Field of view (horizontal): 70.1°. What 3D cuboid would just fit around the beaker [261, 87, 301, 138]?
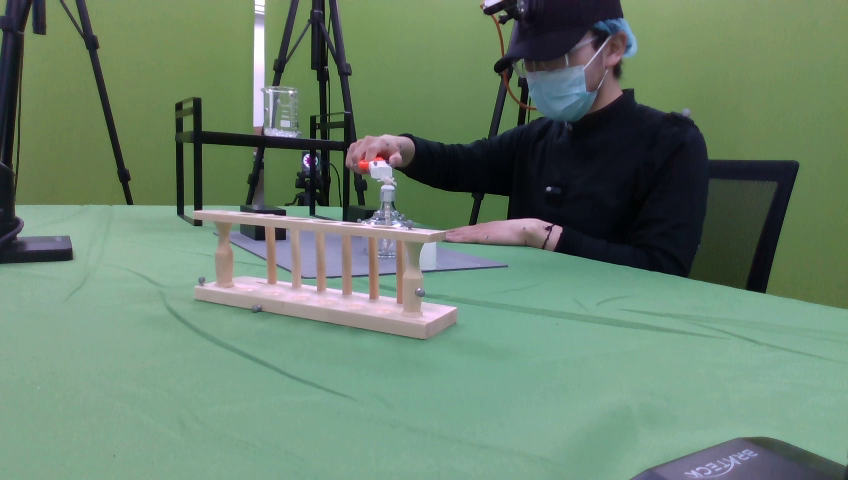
[{"bbox_3d":[-0.298,-0.263,1.255,0.084,0.100,0.073,-4,9,-40],"label":"beaker"}]

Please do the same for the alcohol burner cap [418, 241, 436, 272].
[{"bbox_3d":[0.001,0.015,0.787,0.034,0.048,0.034,4,7,0],"label":"alcohol burner cap"}]

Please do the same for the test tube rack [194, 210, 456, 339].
[{"bbox_3d":[-0.093,0.023,0.546,0.241,0.085,0.067,6,8,25],"label":"test tube rack"}]

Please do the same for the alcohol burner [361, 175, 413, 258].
[{"bbox_3d":[-0.054,-0.034,0.870,0.078,0.119,0.078,1,9,0],"label":"alcohol burner"}]

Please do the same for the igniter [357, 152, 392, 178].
[{"bbox_3d":[-0.082,-0.127,1.012,0.057,0.025,0.276,-3,12,-8],"label":"igniter"}]
